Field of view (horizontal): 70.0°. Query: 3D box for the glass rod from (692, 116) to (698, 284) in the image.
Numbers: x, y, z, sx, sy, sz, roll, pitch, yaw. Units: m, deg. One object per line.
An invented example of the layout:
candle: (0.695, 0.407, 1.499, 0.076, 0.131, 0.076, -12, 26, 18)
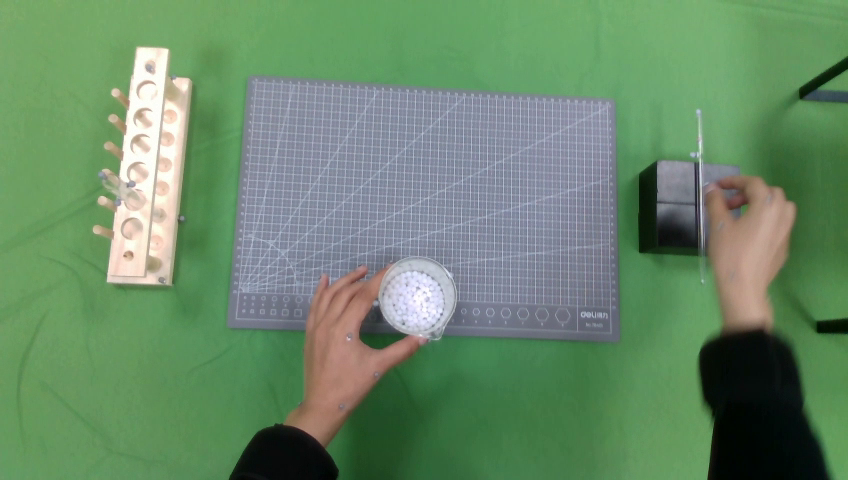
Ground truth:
glass rod: (0.312, -0.048, 0.696, 0.008, 0.008, 0.199, 5, 80, -4)

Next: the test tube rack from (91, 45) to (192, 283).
test tube rack: (-0.309, -0.079, 0.656, 0.067, 0.085, 0.241, 3, 80, -4)

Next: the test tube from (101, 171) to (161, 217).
test tube: (-0.287, -0.043, 0.601, 0.017, 0.150, 0.017, 1, 81, -10)

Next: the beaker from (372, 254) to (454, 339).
beaker: (-0.011, 0.061, 0.608, 0.074, 0.100, 0.084, -25, 84, -8)
